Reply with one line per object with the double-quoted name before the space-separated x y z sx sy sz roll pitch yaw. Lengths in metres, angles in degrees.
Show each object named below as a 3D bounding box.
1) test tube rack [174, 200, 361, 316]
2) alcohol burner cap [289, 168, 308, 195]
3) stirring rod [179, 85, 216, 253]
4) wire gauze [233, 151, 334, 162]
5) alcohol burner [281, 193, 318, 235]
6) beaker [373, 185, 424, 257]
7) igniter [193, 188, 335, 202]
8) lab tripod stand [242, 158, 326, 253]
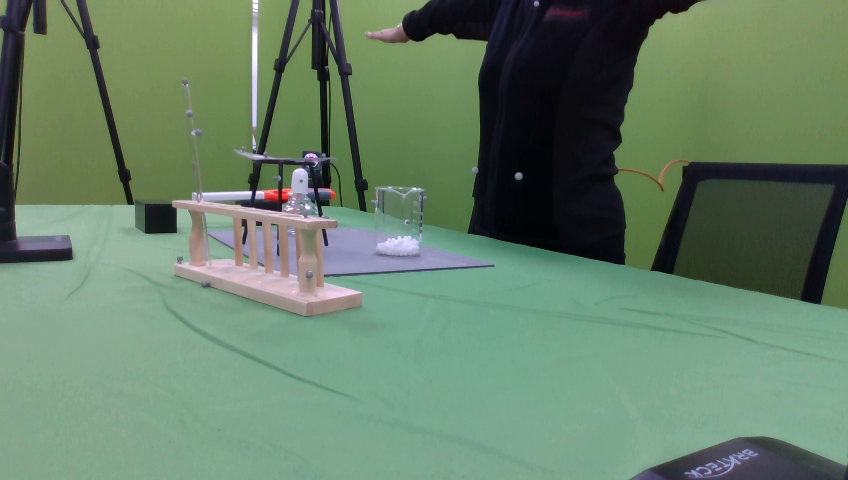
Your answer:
"test tube rack" -0.169 0.009 0.622 0.241 0.085 0.067 9 9 41
"alcohol burner cap" -0.224 -0.105 1.081 0.034 0.048 0.034 3 2 0
"stirring rod" -0.237 -0.073 0.634 0.006 0.176 0.014 0 10 42
"wire gauze" -0.204 -0.120 0.887 0.122 0.011 0.124 0 7 -32
"alcohol burner" -0.225 -0.069 1.086 0.078 0.119 0.078 2 6 0
"beaker" -0.037 -0.028 0.884 0.074 0.100 0.084 1 8 -11
"igniter" -0.312 -0.089 1.209 0.278 0.025 0.057 -5 13 -31
"lab tripod stand" -0.207 -0.054 0.895 0.148 0.131 0.148 2 5 0
